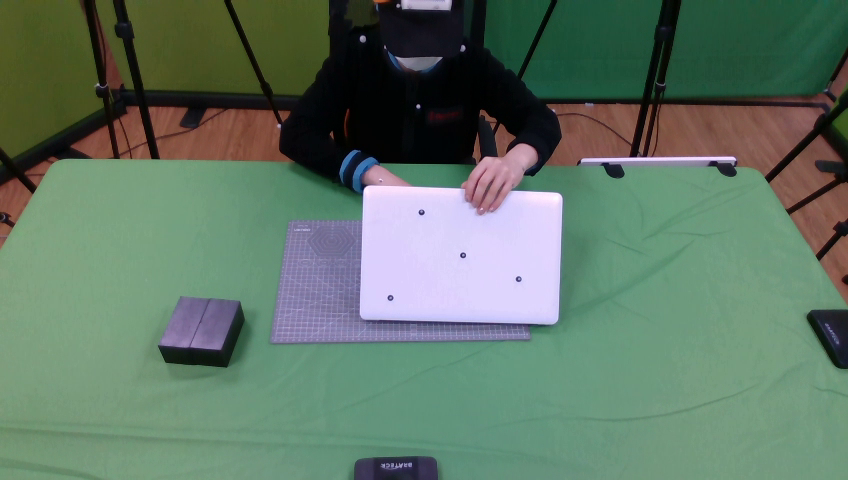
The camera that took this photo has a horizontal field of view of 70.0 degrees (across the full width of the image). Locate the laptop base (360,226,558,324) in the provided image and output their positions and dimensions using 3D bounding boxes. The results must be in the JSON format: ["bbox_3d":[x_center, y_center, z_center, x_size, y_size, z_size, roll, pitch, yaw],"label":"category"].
[{"bbox_3d":[0.061,0.063,1.145,0.355,0.023,0.234,2,43,-3],"label":"laptop base"}]

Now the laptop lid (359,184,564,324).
[{"bbox_3d":[0.067,0.025,1.052,0.357,0.241,0.013,3,2,-4],"label":"laptop lid"}]
